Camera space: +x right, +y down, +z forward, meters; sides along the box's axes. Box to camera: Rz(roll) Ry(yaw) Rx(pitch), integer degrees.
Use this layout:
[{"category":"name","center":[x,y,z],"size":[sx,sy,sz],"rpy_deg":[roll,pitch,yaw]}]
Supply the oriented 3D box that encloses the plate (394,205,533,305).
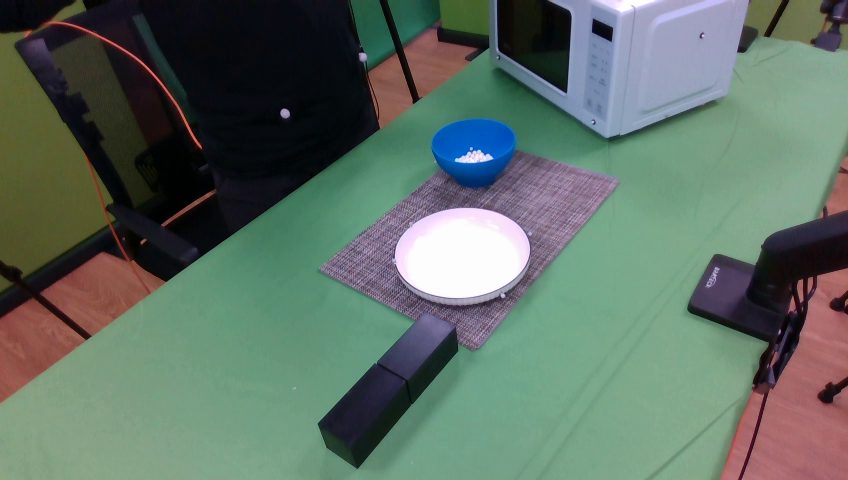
[{"category":"plate","center":[0.059,0.025,0.915],"size":[0.207,0.039,0.206],"rpy_deg":[-4,41,4]}]

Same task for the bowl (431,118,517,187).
[{"category":"bowl","center":[0.090,-0.147,1.080],"size":[0.151,0.077,0.150],"rpy_deg":[-4,41,4]}]

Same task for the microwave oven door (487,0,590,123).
[{"category":"microwave oven door","center":[0.232,-0.420,1.230],"size":[0.039,0.245,0.352],"rpy_deg":[-22,43,-16]}]

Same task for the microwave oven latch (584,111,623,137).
[{"category":"microwave oven latch","center":[0.337,-0.222,1.142],"size":[0.030,0.029,0.078],"rpy_deg":[-21,42,-14]}]

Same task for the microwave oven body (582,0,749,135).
[{"category":"microwave oven body","center":[0.382,-0.444,1.246],"size":[0.327,0.261,0.437],"rpy_deg":[-22,42,-16]}]
